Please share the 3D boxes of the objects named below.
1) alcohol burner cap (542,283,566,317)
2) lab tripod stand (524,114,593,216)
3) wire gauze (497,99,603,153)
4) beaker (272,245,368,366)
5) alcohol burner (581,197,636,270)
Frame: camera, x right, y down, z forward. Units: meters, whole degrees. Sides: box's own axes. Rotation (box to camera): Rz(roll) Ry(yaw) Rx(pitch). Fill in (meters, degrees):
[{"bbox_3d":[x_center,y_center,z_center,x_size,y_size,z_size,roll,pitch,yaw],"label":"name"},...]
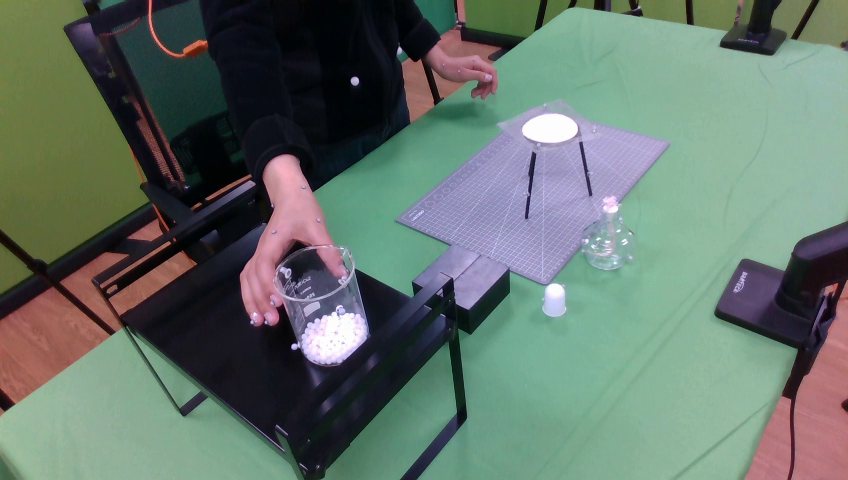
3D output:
[{"bbox_3d":[0.181,0.081,0.840,0.034,0.048,0.033,-3,40,3],"label":"alcohol burner cap"},{"bbox_3d":[0.210,-0.127,1.001,0.148,0.132,0.147,-4,43,4],"label":"lab tripod stand"},{"bbox_3d":[0.199,-0.180,0.962,0.125,0.011,0.120,-20,43,-13],"label":"wire gauze"},{"bbox_3d":[-0.093,0.064,0.578,0.073,0.101,0.084,21,48,29],"label":"beaker"},{"bbox_3d":[0.270,-0.015,0.882,0.078,0.119,0.077,-5,42,5],"label":"alcohol burner"}]
